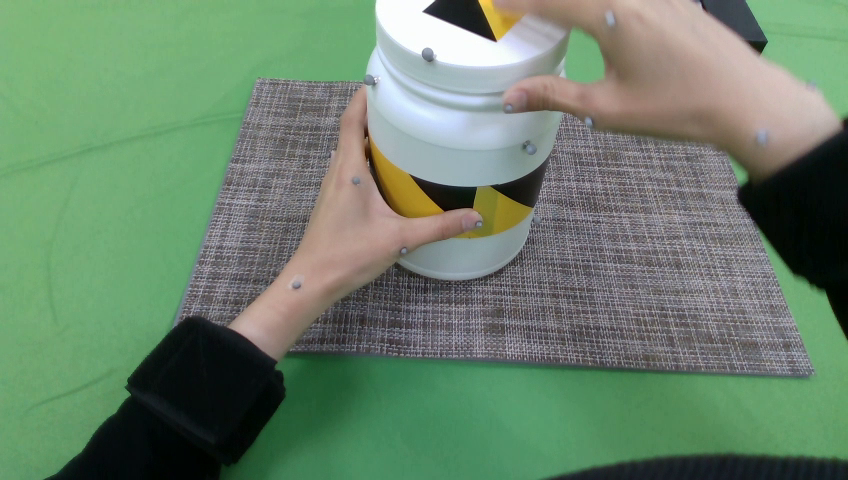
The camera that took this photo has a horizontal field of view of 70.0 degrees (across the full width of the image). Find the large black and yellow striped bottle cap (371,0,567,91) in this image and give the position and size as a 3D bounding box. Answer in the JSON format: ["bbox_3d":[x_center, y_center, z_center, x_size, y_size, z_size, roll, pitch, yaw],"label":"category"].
[{"bbox_3d":[0.026,-0.131,0.356,0.115,0.019,0.114,2,53,-2],"label":"large black and yellow striped bottle cap"}]

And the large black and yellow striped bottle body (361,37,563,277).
[{"bbox_3d":[0.022,-0.075,0.425,0.131,0.185,0.129,2,51,-2],"label":"large black and yellow striped bottle body"}]
